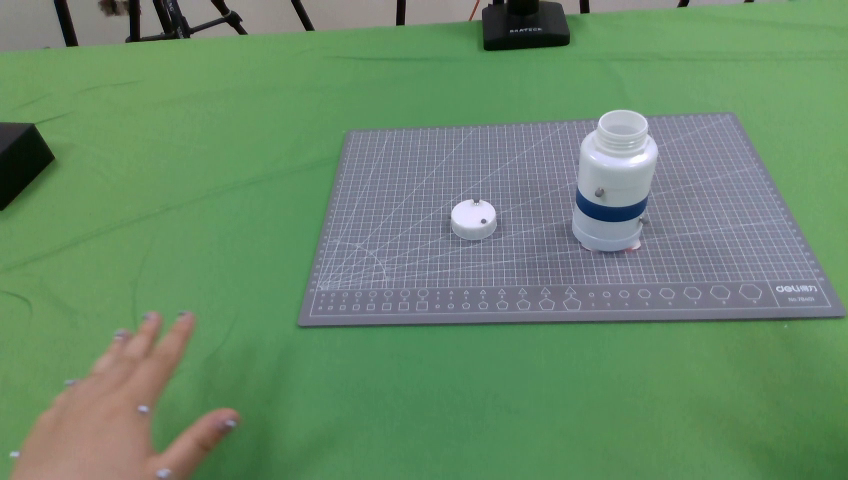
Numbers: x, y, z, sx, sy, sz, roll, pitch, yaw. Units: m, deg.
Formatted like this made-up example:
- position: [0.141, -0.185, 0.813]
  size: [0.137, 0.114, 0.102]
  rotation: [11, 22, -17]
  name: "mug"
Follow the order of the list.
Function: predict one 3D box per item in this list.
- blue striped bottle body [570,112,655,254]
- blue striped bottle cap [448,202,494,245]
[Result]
- position: [0.164, -0.050, 0.531]
  size: [0.063, 0.122, 0.062]
  rotation: [-3, 44, 4]
  name: "blue striped bottle body"
- position: [0.046, -0.017, 0.588]
  size: [0.044, 0.021, 0.044]
  rotation: [-2, 43, 3]
  name: "blue striped bottle cap"
